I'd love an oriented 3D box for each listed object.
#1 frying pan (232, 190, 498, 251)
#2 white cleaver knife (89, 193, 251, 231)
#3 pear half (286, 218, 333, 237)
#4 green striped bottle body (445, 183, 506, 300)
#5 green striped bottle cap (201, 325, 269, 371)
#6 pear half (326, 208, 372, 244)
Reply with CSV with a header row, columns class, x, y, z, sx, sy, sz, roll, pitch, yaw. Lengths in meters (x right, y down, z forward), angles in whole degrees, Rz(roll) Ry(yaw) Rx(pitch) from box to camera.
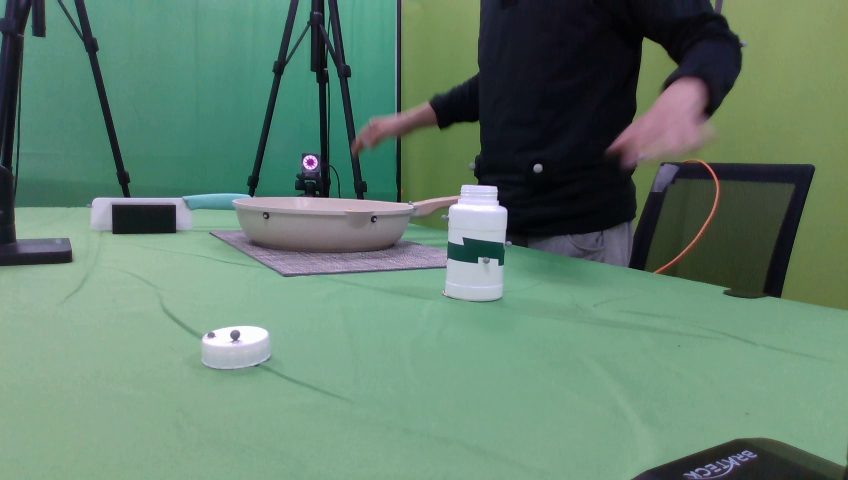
class,x,y,z,sx,sy,sz,roll,pitch,yaw
frying pan,-0.073,-0.051,1.048,0.490,0.102,0.305,-11,13,-27
white cleaver knife,-0.454,-0.052,1.114,0.288,0.066,0.021,-4,14,-27
pear half,-0.197,-0.022,1.054,0.070,0.031,0.088,16,18,43
green striped bottle body,0.055,0.000,0.644,0.063,0.119,0.063,2,7,0
green striped bottle cap,-0.129,0.073,0.415,0.044,0.020,0.044,3,8,0
pear half,-0.128,-0.026,1.017,0.076,0.056,0.109,6,4,-19
